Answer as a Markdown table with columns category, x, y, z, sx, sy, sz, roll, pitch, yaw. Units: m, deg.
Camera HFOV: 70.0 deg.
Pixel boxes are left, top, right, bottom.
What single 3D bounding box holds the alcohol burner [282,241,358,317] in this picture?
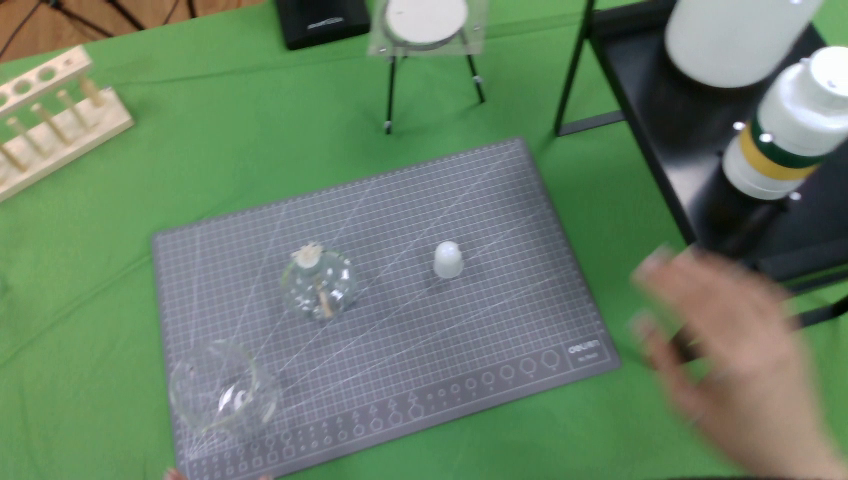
| category | x | y | z | sx | sy | sz | roll | pitch | yaw |
| --- | --- | --- | --- | --- | --- | --- | --- | --- | --- |
| alcohol burner | -0.106 | 0.033 | 0.608 | 0.078 | 0.120 | 0.077 | 0 | 63 | 0 |

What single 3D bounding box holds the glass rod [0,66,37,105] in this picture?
| category | x | y | z | sx | sy | sz | roll | pitch | yaw |
| --- | --- | --- | --- | --- | --- | --- | --- | --- | --- |
| glass rod | -0.469 | -0.188 | 0.666 | 0.008 | 0.201 | 0.008 | -4 | 60 | 8 |

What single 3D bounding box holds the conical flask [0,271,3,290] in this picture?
| category | x | y | z | sx | sy | sz | roll | pitch | yaw |
| --- | --- | --- | --- | --- | --- | --- | --- | --- | --- |
| conical flask | -0.506 | 0.030 | 0.620 | 0.075 | 0.123 | 0.074 | -1 | 65 | 2 |

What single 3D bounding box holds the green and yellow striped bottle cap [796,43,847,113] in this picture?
| category | x | y | z | sx | sy | sz | roll | pitch | yaw |
| --- | --- | --- | --- | --- | --- | --- | --- | --- | --- |
| green and yellow striped bottle cap | 0.276 | -0.109 | 0.405 | 0.045 | 0.020 | 0.045 | 0 | 66 | 0 |

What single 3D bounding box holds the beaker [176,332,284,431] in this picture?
| category | x | y | z | sx | sy | sz | roll | pitch | yaw |
| --- | --- | --- | --- | --- | --- | --- | --- | --- | --- |
| beaker | -0.178 | 0.140 | 0.569 | 0.074 | 0.101 | 0.083 | 10 | 66 | 8 |

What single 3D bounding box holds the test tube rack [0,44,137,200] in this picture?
| category | x | y | z | sx | sy | sz | roll | pitch | yaw |
| --- | --- | --- | --- | --- | --- | --- | --- | --- | --- |
| test tube rack | -0.479 | -0.123 | 0.710 | 0.242 | 0.086 | 0.066 | -35 | 69 | -14 |

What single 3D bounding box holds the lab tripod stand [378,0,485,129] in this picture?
| category | x | y | z | sx | sy | sz | roll | pitch | yaw |
| --- | --- | --- | --- | --- | --- | --- | --- | --- | --- |
| lab tripod stand | 0.002 | -0.216 | 0.711 | 0.148 | 0.132 | 0.147 | 0 | 64 | 1 |

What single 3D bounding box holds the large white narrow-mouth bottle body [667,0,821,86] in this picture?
| category | x | y | z | sx | sy | sz | roll | pitch | yaw |
| --- | --- | --- | --- | --- | --- | --- | --- | --- | --- |
| large white narrow-mouth bottle body | 0.267 | -0.216 | 0.472 | 0.102 | 0.196 | 0.101 | -1 | 65 | 3 |

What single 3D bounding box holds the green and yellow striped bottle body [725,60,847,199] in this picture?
| category | x | y | z | sx | sy | sz | roll | pitch | yaw |
| --- | --- | --- | --- | --- | --- | --- | --- | --- | --- |
| green and yellow striped bottle body | 0.280 | -0.086 | 0.452 | 0.063 | 0.120 | 0.062 | -1 | 65 | 2 |

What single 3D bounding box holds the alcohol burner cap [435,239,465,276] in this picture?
| category | x | y | z | sx | sy | sz | roll | pitch | yaw |
| --- | --- | --- | --- | --- | --- | --- | --- | --- | --- |
| alcohol burner cap | 0.028 | 0.016 | 0.651 | 0.034 | 0.048 | 0.033 | -1 | 65 | 2 |

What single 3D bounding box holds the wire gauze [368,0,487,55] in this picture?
| category | x | y | z | sx | sy | sz | roll | pitch | yaw |
| --- | --- | --- | --- | --- | --- | --- | --- | --- | --- |
| wire gauze | 0.007 | -0.248 | 0.652 | 0.121 | 0.011 | 0.124 | 5 | 66 | 2 |
